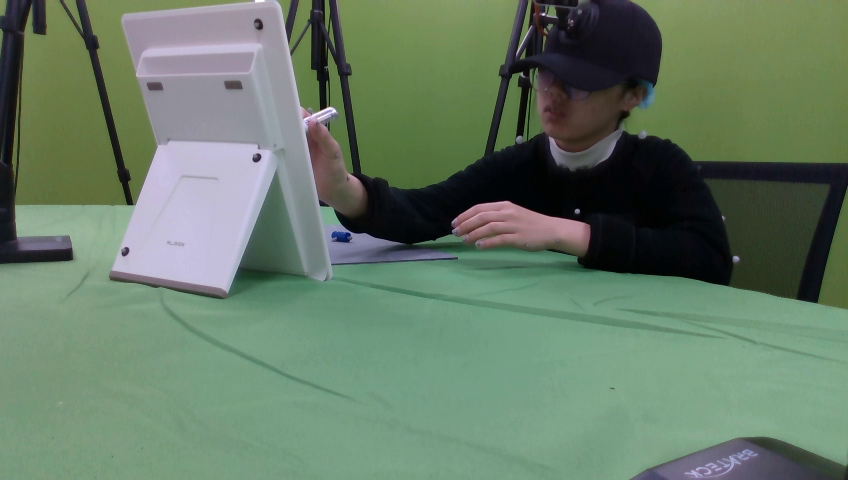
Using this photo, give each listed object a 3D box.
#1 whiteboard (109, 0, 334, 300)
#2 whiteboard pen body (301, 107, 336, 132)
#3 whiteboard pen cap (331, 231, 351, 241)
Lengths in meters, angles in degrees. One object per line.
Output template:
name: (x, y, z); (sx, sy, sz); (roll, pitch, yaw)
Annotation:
whiteboard: (-0.247, -0.072, 0.624); (0.216, 0.305, 0.144); (6, 28, 26)
whiteboard pen body: (-0.132, -0.140, 0.710); (0.017, 0.017, 0.141); (3, 21, 11)
whiteboard pen cap: (-0.139, -0.007, 1.011); (0.033, 0.018, 0.018); (4, 7, 36)
